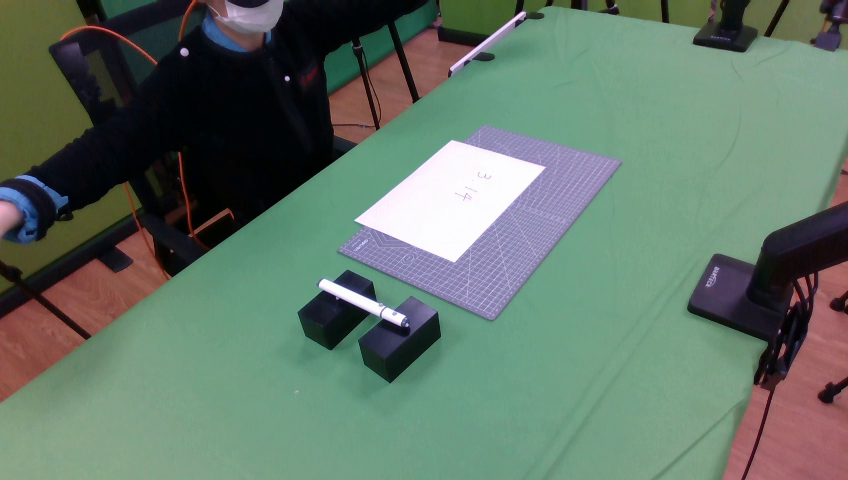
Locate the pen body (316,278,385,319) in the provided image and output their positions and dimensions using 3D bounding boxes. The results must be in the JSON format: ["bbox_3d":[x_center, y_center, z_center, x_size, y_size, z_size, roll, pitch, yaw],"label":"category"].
[{"bbox_3d":[-0.088,0.083,0.812,0.143,0.017,0.017,21,48,29],"label":"pen body"}]

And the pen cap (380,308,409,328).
[{"bbox_3d":[-0.037,0.102,0.782,0.038,0.017,0.017,19,47,29],"label":"pen cap"}]
